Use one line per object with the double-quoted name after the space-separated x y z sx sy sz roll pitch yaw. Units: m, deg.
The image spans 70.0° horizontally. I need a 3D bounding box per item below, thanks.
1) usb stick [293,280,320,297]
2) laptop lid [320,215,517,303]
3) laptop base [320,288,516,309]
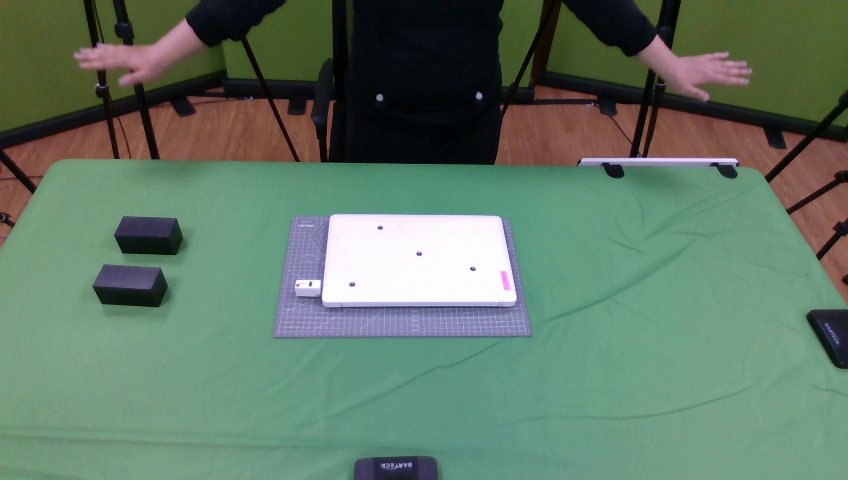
-0.202 0.087 1.082 0.059 0.027 0.021 4 45 -4 "usb stick"
-0.012 0.030 1.153 0.357 0.013 0.240 2 43 -3 "laptop lid"
-0.013 0.040 1.159 0.355 0.023 0.234 0 43 -4 "laptop base"
